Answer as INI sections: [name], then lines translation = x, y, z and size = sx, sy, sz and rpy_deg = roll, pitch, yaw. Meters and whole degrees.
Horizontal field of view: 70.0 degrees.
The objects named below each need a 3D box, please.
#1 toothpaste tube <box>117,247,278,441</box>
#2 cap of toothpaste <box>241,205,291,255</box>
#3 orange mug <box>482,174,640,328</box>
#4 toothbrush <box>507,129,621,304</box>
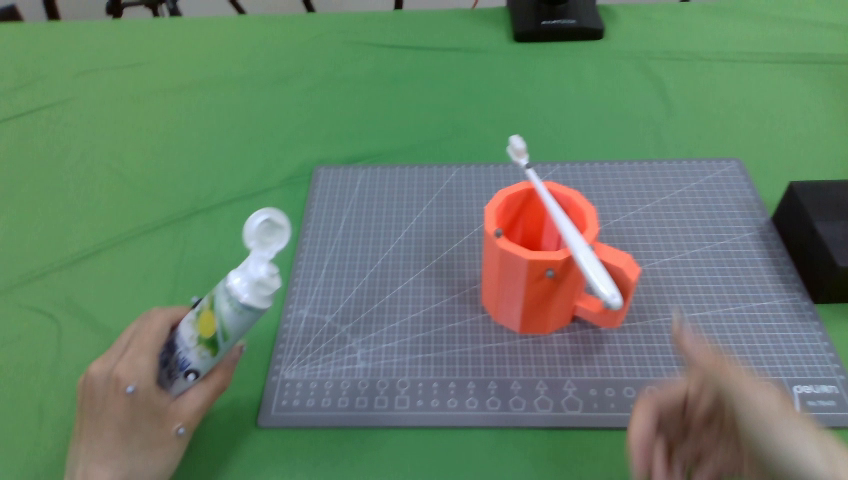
[toothpaste tube]
translation = -0.158, 0.067, 0.420
size = 0.165, 0.035, 0.054
rpy_deg = -46, 62, 14
[cap of toothpaste]
translation = -0.107, -0.007, 0.416
size = 0.037, 0.037, 0.011
rpy_deg = -37, 30, -26
[orange mug]
translation = 0.105, 0.016, 0.483
size = 0.125, 0.102, 0.083
rpy_deg = 22, 53, 26
[toothbrush]
translation = 0.100, -0.025, 0.450
size = 0.014, 0.017, 0.180
rpy_deg = -11, 49, -12
